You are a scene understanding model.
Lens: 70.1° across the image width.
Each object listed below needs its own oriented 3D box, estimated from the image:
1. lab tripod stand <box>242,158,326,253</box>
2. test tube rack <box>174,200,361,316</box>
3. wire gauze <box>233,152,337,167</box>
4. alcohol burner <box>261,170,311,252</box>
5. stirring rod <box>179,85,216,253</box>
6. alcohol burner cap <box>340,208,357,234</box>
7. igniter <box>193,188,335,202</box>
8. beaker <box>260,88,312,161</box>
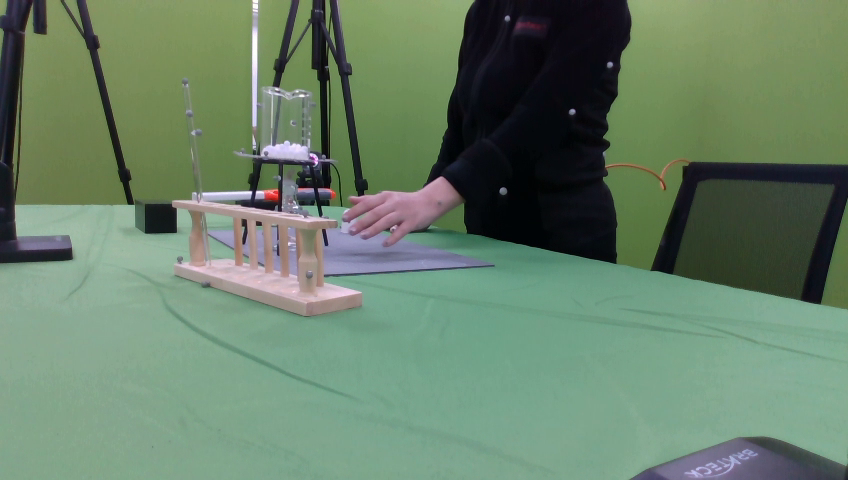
[{"bbox_3d":[-0.207,-0.054,0.895,0.148,0.131,0.148,3,5,0],"label":"lab tripod stand"},{"bbox_3d":[-0.169,0.009,0.622,0.241,0.085,0.067,9,9,41],"label":"test tube rack"},{"bbox_3d":[-0.205,-0.119,0.887,0.122,0.011,0.124,2,4,-32],"label":"wire gauze"},{"bbox_3d":[-0.201,-0.043,0.891,0.078,0.119,0.078,1,6,0],"label":"alcohol burner"},{"bbox_3d":[-0.237,-0.073,0.634,0.006,0.176,0.014,0,9,42],"label":"stirring rod"},{"bbox_3d":[-0.142,-0.035,1.136,0.034,0.048,0.034,2,7,0],"label":"alcohol burner cap"},{"bbox_3d":[-0.312,-0.089,1.209,0.278,0.025,0.057,-5,13,-31],"label":"igniter"},{"bbox_3d":[-0.201,-0.166,0.877,0.074,0.100,0.083,1,7,-18],"label":"beaker"}]
